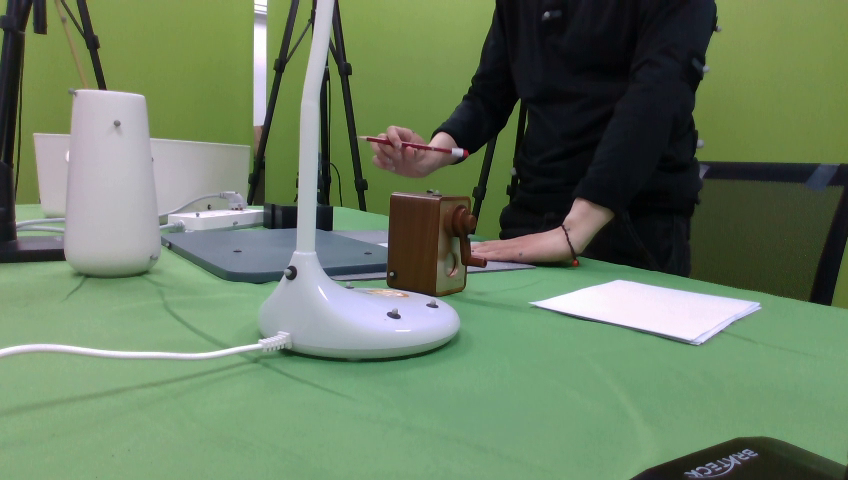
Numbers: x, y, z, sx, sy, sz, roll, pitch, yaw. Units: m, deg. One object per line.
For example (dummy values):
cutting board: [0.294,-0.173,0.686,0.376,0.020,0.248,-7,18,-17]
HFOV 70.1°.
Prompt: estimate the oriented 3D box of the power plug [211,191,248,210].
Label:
power plug: [-0.384,-0.071,1.205,0.072,0.052,0.035,1,8,28]

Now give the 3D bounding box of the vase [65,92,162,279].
vase: [-0.347,-0.060,0.673,0.098,0.200,0.098,1,7,0]

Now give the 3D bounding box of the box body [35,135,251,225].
box body: [-0.559,-0.127,1.257,0.253,0.160,0.365,4,8,15]

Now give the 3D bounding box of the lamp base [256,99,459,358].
lamp base: [-0.055,-0.013,0.463,0.160,0.180,0.180,6,11,27]

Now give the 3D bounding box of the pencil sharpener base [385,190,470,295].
pencil sharpener base: [0.006,0.001,0.653,0.076,0.107,0.061,8,9,37]

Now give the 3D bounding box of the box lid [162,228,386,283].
box lid: [-0.200,0.014,0.861,0.265,0.015,0.369,-4,9,-35]

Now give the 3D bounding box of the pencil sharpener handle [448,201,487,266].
pencil sharpener handle: [0.049,-0.006,0.623,0.030,0.068,0.036,8,22,37]

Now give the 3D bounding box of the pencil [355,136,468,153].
pencil: [-0.019,-0.162,1.018,0.194,0.012,0.012,5,7,-11]

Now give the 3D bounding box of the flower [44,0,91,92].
flower: [-0.361,-0.142,0.663,0.044,0.361,0.038,-12,11,30]

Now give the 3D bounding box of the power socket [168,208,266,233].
power socket: [-0.379,-0.038,1.129,0.072,0.032,0.227,4,8,18]
